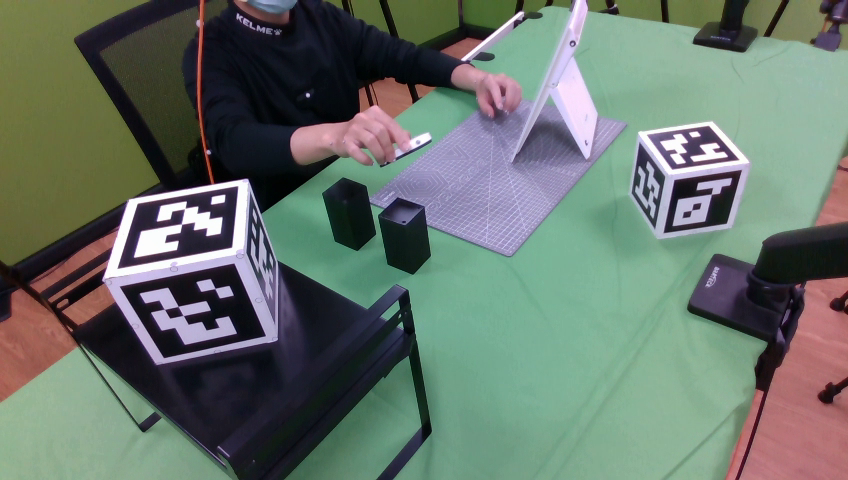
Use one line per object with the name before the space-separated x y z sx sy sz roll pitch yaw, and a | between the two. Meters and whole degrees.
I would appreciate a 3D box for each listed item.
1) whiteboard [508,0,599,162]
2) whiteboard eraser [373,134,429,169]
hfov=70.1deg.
whiteboard | 0.285 -0.289 1.090 0.144 0.305 0.217 22 45 3
whiteboard eraser | -0.035 -0.137 0.926 0.101 0.019 0.041 -21 14 33
